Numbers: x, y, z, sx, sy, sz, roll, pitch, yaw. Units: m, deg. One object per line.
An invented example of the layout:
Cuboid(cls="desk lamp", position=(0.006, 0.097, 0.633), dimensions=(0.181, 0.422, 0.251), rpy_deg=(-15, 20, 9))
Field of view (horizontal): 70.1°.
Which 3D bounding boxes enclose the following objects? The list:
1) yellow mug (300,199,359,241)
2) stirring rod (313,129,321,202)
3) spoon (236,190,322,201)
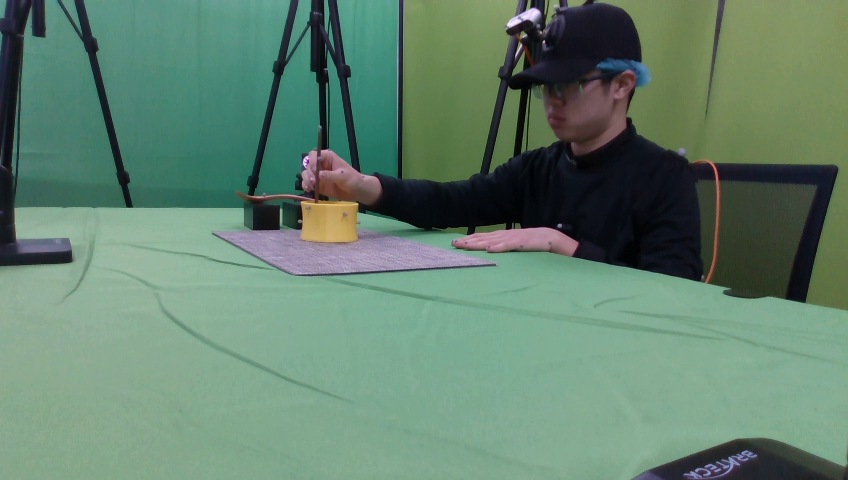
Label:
Cuboid(cls="yellow mug", position=(-0.156, -0.037, 1.060), dimensions=(0.099, 0.064, 0.131), rpy_deg=(6, 7, 27))
Cuboid(cls="stirring rod", position=(-0.182, -0.099, 1.020), dimensions=(0.006, 0.176, 0.014), rpy_deg=(4, 6, -2))
Cuboid(cls="spoon", position=(-0.290, -0.088, 1.248), dimensions=(0.195, 0.021, 0.041), rpy_deg=(0, 6, -32))
